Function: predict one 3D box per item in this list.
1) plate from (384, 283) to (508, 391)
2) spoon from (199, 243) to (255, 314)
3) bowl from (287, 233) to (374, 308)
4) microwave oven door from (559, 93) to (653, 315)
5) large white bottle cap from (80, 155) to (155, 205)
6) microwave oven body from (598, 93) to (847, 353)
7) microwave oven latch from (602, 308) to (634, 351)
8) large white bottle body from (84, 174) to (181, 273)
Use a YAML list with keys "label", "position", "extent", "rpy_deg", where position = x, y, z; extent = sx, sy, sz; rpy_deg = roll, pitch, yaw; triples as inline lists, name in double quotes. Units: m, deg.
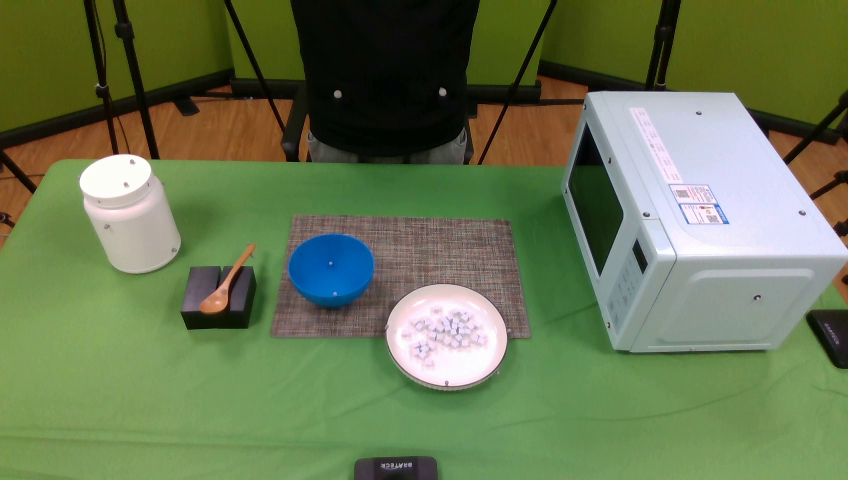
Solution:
- label: "plate"
  position: [0.036, 0.166, 1.029]
  extent: [0.209, 0.038, 0.208]
  rpy_deg: [2, 49, -2]
- label: "spoon"
  position: [-0.333, 0.062, 1.051]
  extent: [0.041, 0.022, 0.193]
  rpy_deg: [7, 41, 8]
- label: "bowl"
  position: [-0.165, 0.068, 1.078]
  extent: [0.151, 0.077, 0.150]
  rpy_deg: [3, 46, -3]
- label: "microwave oven door"
  position: [0.327, -0.074, 1.123]
  extent: [0.039, 0.245, 0.353]
  rpy_deg: [-1, 46, -5]
- label: "large white bottle cap"
  position: [-0.519, -0.103, 1.027]
  extent: [0.115, 0.018, 0.114]
  rpy_deg: [2, 46, -1]
- label: "microwave oven body"
  position: [0.475, -0.041, 1.109]
  extent: [0.326, 0.261, 0.438]
  rpy_deg: [-1, 45, -4]
- label: "microwave oven latch"
  position: [0.332, 0.153, 1.044]
  extent: [0.030, 0.029, 0.078]
  rpy_deg: [-1, 45, -4]
- label: "large white bottle body"
  position: [-0.523, -0.045, 1.088]
  extent: [0.131, 0.185, 0.130]
  rpy_deg: [2, 46, -2]
